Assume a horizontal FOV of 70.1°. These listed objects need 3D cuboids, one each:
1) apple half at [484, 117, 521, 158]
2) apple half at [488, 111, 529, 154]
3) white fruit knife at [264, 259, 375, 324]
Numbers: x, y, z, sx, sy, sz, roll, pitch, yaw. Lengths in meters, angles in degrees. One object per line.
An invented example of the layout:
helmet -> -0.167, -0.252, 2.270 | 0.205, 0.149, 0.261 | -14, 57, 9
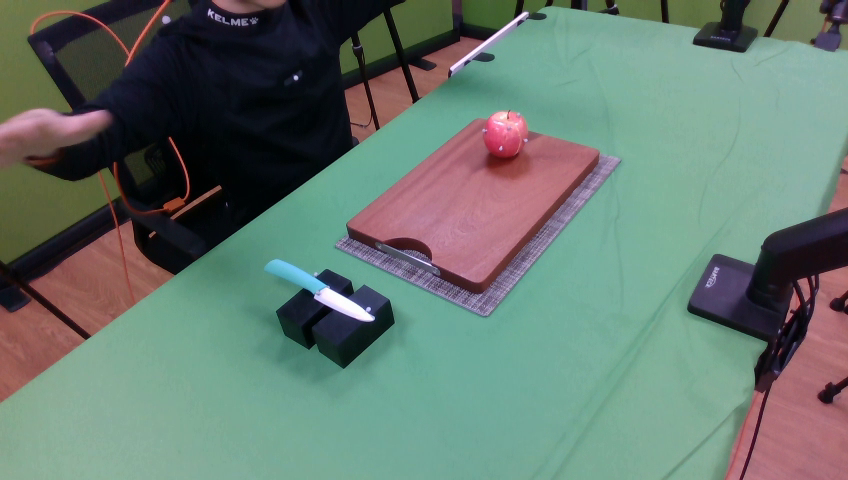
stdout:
apple half -> 0.131, -0.175, 1.069 | 0.080, 0.081, 0.033 | 24, 48, 32
apple half -> 0.156, -0.197, 1.091 | 0.080, 0.075, 0.053 | 21, 44, 34
white fruit knife -> -0.147, 0.070, 0.840 | 0.206, 0.016, 0.027 | 24, 79, 29
